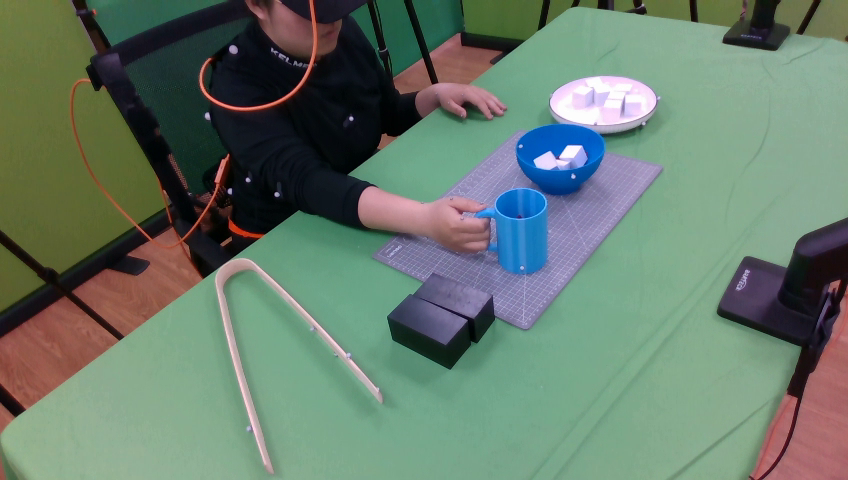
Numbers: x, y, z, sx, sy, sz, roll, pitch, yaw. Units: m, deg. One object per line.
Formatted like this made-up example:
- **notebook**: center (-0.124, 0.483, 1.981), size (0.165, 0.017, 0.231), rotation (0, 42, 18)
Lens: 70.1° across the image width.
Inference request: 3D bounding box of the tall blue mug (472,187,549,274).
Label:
- **tall blue mug**: center (0.131, -0.009, 0.896), size (0.107, 0.108, 0.077), rotation (-15, 41, -6)

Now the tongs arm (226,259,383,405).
- **tongs arm**: center (-0.185, 0.121, 0.863), size (0.051, 0.027, 0.381), rotation (-34, 45, -20)

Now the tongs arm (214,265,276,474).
- **tongs arm**: center (-0.252, 0.158, 0.837), size (0.028, 0.028, 0.384), rotation (-27, 42, -8)

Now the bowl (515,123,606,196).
- **bowl**: center (0.235, -0.131, 1.045), size (0.151, 0.077, 0.150), rotation (-5, 40, 5)

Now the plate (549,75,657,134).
- **plate**: center (0.357, -0.268, 1.220), size (0.209, 0.038, 0.208), rotation (-5, 41, 5)
